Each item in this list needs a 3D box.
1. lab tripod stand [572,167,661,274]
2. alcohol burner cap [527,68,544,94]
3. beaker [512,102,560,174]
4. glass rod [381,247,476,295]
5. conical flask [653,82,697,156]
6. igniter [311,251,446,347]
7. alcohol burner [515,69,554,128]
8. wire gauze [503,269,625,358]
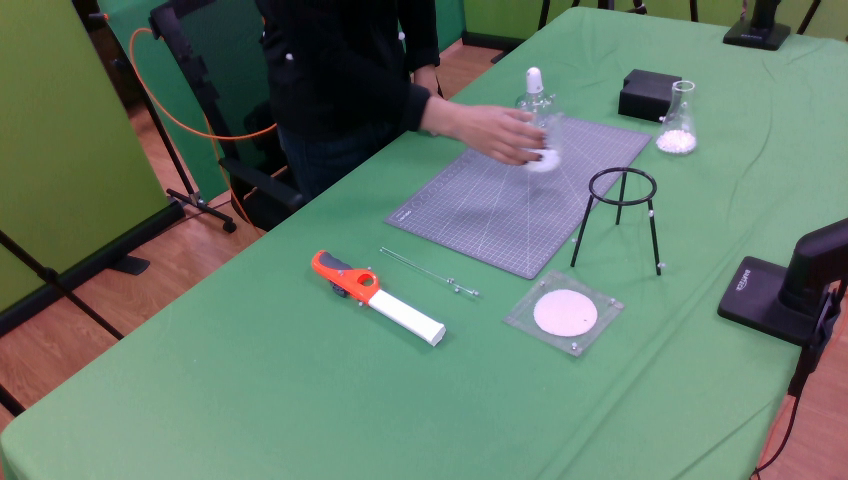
[{"bbox_3d":[0.283,-0.030,0.879,0.148,0.132,0.147,-7,38,6],"label":"lab tripod stand"},{"bbox_3d":[0.216,-0.312,1.179,0.034,0.048,0.033,-9,40,9],"label":"alcohol burner cap"},{"bbox_3d":[0.191,-0.167,1.011,0.074,0.101,0.083,-12,38,1],"label":"beaker"},{"bbox_3d":[0.002,0.046,0.939,0.198,0.008,0.008,24,51,36],"label":"glass rod"},{"bbox_3d":[0.454,-0.218,1.077,0.075,0.122,0.075,-5,40,5],"label":"conical flask"},{"bbox_3d":[-0.078,0.081,0.899,0.274,0.025,0.057,27,62,35],"label":"igniter"},{"bbox_3d":[0.221,-0.285,1.203,0.078,0.119,0.077,-4,39,4],"label":"alcohol burner"},{"bbox_3d":[0.194,0.100,0.840,0.120,0.011,0.125,27,54,36],"label":"wire gauze"}]
